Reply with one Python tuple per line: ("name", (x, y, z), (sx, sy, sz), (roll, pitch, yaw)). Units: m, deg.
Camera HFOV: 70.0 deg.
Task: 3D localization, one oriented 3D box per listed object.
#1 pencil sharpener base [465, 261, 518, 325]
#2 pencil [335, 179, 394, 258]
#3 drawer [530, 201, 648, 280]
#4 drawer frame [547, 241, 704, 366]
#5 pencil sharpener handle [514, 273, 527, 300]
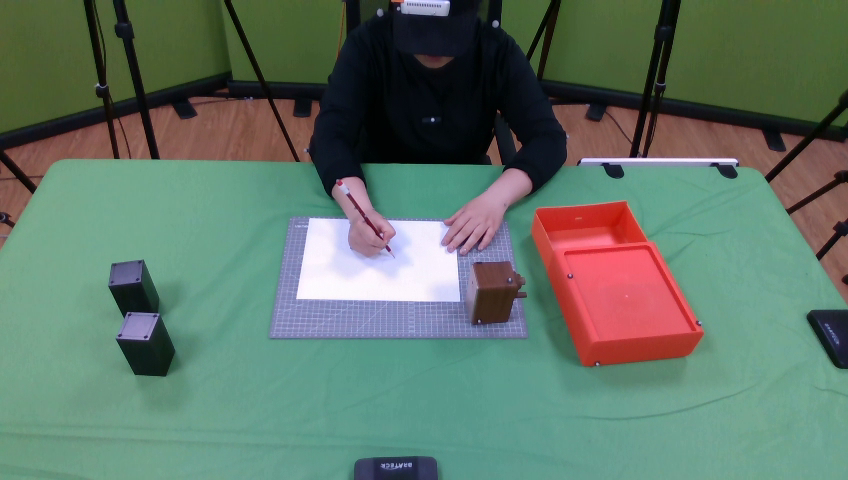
("pencil sharpener base", (0.117, 0.093, 1.053), (0.077, 0.107, 0.061), (-3, 45, -7))
("pencil", (-0.107, -0.036, 1.120), (0.012, 0.195, 0.012), (-25, 30, 16))
("drawer", (0.329, 0.025, 1.159), (0.195, 0.073, 0.210), (-5, 46, -9))
("drawer frame", (0.348, 0.106, 1.077), (0.202, 0.083, 0.212), (-4, 47, -9))
("pencil sharpener handle", (0.169, 0.081, 1.051), (0.031, 0.068, 0.035), (-3, 48, -7))
